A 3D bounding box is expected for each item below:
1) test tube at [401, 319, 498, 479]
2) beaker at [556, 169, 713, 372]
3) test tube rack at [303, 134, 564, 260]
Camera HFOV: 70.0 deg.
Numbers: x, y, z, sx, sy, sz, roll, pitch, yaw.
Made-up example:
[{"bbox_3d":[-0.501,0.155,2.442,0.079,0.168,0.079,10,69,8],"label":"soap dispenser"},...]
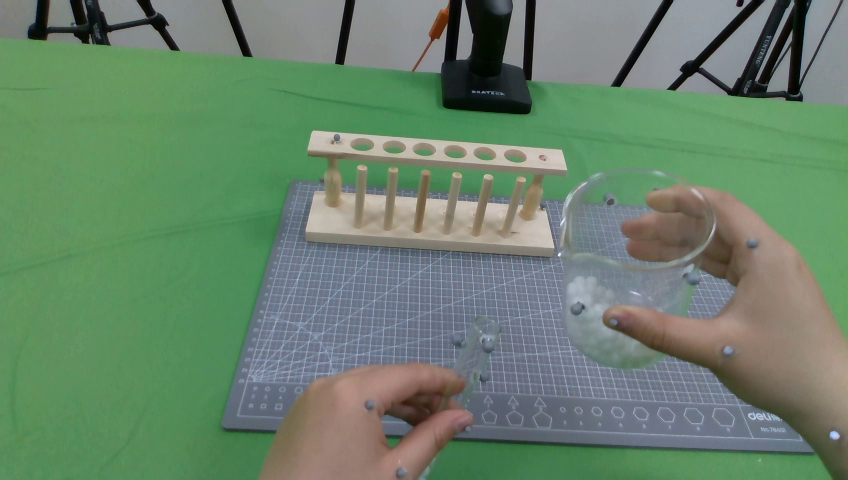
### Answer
[{"bbox_3d":[0.010,0.106,0.352,0.017,0.151,0.017,15,30,-9],"label":"test tube"},{"bbox_3d":[0.112,0.023,0.344,0.084,0.101,0.073,-23,47,-12],"label":"beaker"},{"bbox_3d":[0.008,-0.041,0.588,0.243,0.086,0.066,4,42,-4],"label":"test tube rack"}]
